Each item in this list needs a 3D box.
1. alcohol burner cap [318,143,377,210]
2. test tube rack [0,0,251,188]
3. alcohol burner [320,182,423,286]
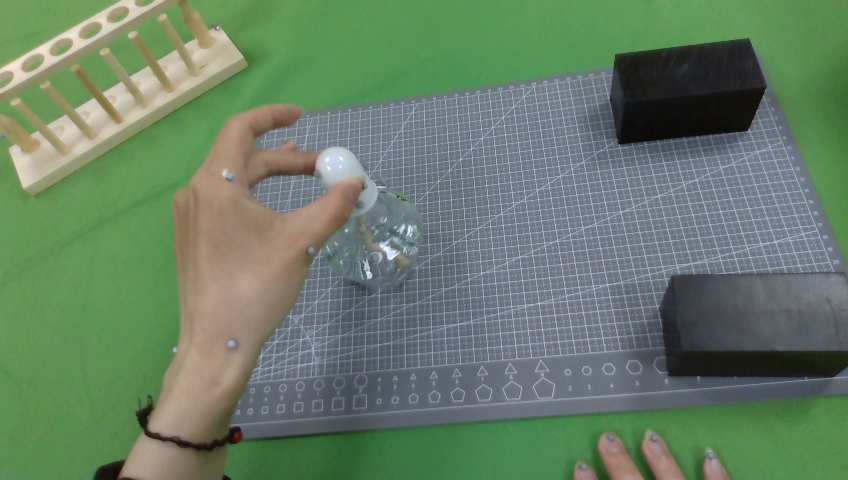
[{"bbox_3d":[-0.051,-0.043,0.392,0.034,0.048,0.033,-3,69,7],"label":"alcohol burner cap"},{"bbox_3d":[-0.300,-0.158,0.581,0.242,0.086,0.066,-34,61,-9],"label":"test tube rack"},{"bbox_3d":[-0.041,-0.016,0.432,0.078,0.120,0.077,-5,59,9],"label":"alcohol burner"}]
